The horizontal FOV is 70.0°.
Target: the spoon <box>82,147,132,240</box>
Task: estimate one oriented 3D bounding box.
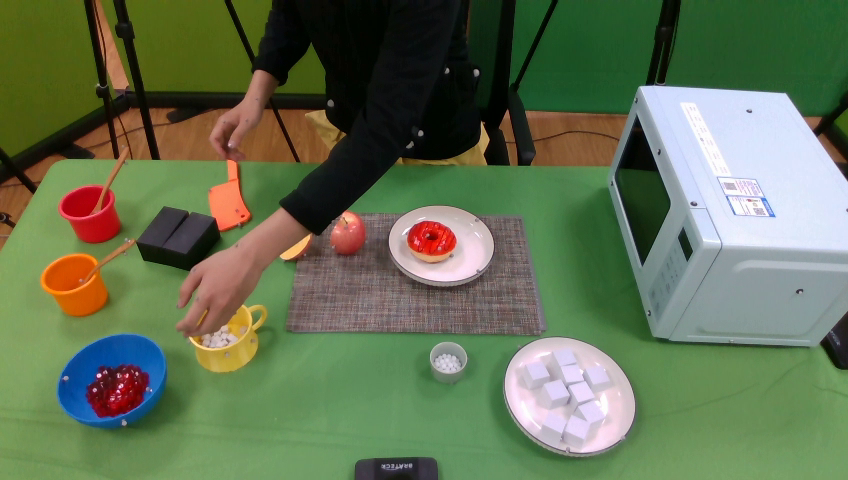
[{"bbox_3d":[-0.602,-0.089,1.156,0.041,0.022,0.194,27,95,22],"label":"spoon"}]

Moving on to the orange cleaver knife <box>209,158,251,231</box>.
[{"bbox_3d":[-0.409,-0.098,1.266,0.077,0.012,0.210,-13,49,-10],"label":"orange cleaver knife"}]

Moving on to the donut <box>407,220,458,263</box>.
[{"bbox_3d":[0.016,0.002,1.166,0.099,0.048,0.098,3,44,-3],"label":"donut"}]

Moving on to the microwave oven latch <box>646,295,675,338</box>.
[{"bbox_3d":[0.412,0.134,1.061,0.030,0.029,0.078,4,45,1],"label":"microwave oven latch"}]

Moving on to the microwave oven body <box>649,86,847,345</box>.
[{"bbox_3d":[0.568,-0.053,1.118,0.326,0.261,0.439,2,45,-1],"label":"microwave oven body"}]

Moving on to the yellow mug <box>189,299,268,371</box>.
[{"bbox_3d":[-0.316,0.148,1.002,0.131,0.064,0.099,-33,56,-31],"label":"yellow mug"}]

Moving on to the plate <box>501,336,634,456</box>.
[{"bbox_3d":[0.225,0.248,0.964,0.208,0.039,0.206,2,46,-2],"label":"plate"}]

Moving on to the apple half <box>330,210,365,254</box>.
[{"bbox_3d":[-0.140,-0.009,1.157,0.053,0.075,0.080,17,44,8],"label":"apple half"}]

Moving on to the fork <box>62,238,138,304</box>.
[{"bbox_3d":[-0.547,0.053,1.018,0.207,0.019,0.028,-36,41,23],"label":"fork"}]

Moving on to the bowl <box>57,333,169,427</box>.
[{"bbox_3d":[-0.456,0.223,0.912,0.151,0.077,0.150,3,45,-3],"label":"bowl"}]

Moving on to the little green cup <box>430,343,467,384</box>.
[{"bbox_3d":[0.039,0.203,0.994,0.061,0.039,0.061,2,46,-2],"label":"little green cup"}]

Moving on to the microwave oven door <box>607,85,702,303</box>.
[{"bbox_3d":[0.423,-0.094,1.140,0.039,0.245,0.353,2,46,-1],"label":"microwave oven door"}]

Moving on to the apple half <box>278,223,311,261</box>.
[{"bbox_3d":[-0.241,0.007,1.157,0.081,0.033,0.081,-17,54,25],"label":"apple half"}]

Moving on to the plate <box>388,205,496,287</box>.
[{"bbox_3d":[0.033,0.014,1.171,0.209,0.038,0.208,2,46,-2],"label":"plate"}]
